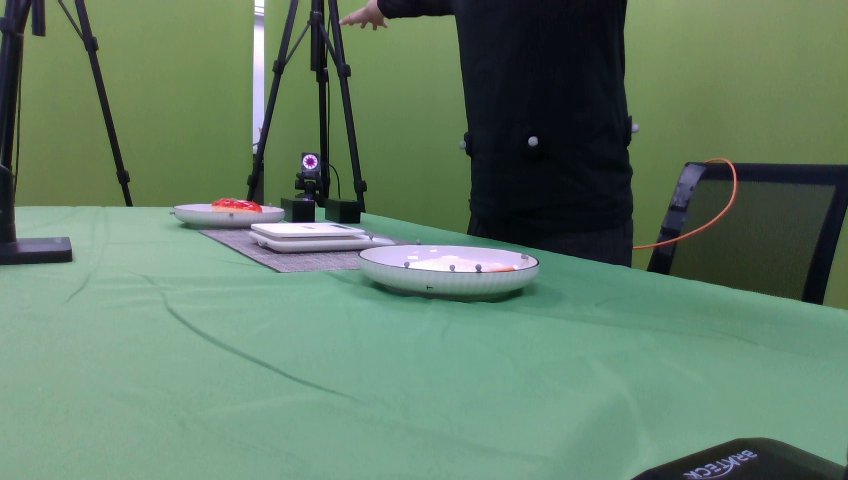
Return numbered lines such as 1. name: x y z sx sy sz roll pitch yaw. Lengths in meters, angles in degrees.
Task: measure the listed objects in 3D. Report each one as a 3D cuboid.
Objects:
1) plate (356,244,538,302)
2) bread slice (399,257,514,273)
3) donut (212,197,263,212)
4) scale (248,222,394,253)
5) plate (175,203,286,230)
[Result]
1. plate: 0.025 0.036 0.693 0.209 0.038 0.209 3 7 0
2. bread slice: 0.029 0.038 0.689 0.104 0.019 0.132 8 10 37
3. donut: -0.376 -0.061 1.220 0.099 0.048 0.099 5 4 0
4. scale: -0.162 -0.006 0.954 0.202 0.031 0.148 -1 9 -32
5. plate: -0.380 -0.047 1.199 0.208 0.039 0.207 3 7 0
